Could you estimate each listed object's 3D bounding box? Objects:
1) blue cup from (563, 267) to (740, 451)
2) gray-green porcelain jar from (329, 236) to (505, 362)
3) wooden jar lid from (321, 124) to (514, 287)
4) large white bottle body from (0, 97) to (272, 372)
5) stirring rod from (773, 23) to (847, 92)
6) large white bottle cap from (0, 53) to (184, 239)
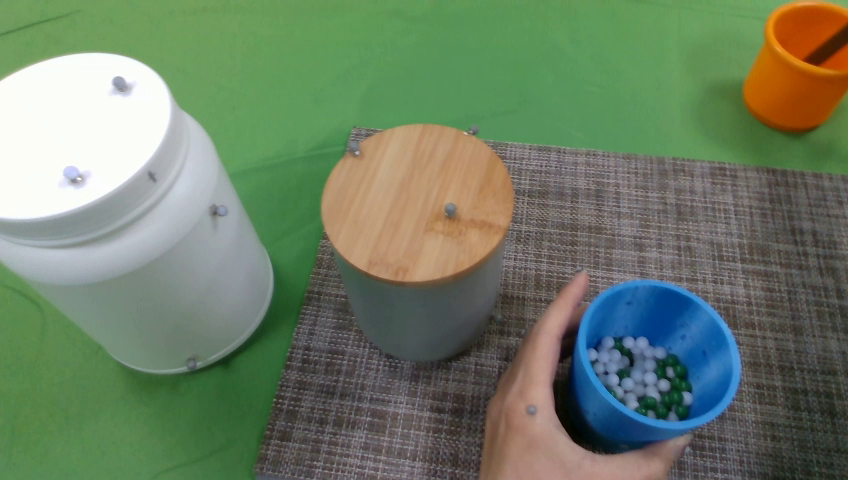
[{"bbox_3d":[0.124,0.084,0.365,0.092,0.101,0.092,1,57,-1],"label":"blue cup"},{"bbox_3d":[-0.003,0.014,0.397,0.106,0.127,0.105,-1,58,2],"label":"gray-green porcelain jar"},{"bbox_3d":[-0.004,-0.019,0.344,0.108,0.021,0.107,-2,58,4],"label":"wooden jar lid"},{"bbox_3d":[-0.182,-0.007,0.384,0.130,0.186,0.129,-1,58,1],"label":"large white bottle body"},{"bbox_3d":[0.346,-0.174,0.465,0.014,0.176,0.006,45,55,3],"label":"stirring rod"},{"bbox_3d":[-0.185,-0.052,0.312,0.115,0.018,0.114,-1,58,1],"label":"large white bottle cap"}]
